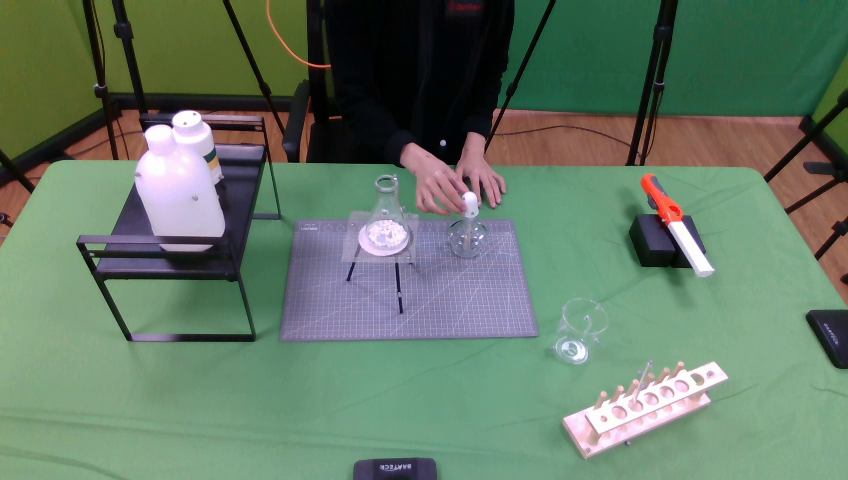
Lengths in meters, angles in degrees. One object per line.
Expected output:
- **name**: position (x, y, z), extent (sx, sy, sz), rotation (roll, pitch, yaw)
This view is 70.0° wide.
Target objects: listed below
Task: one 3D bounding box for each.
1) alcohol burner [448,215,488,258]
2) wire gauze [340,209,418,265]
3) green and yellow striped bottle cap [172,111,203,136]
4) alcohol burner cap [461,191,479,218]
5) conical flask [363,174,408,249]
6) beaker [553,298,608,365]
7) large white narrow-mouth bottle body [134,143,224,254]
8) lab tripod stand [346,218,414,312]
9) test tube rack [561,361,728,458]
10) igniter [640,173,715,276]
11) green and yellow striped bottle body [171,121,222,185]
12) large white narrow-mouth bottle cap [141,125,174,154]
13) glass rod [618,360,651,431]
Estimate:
- **alcohol burner**: position (0.085, -0.023, 1.159), extent (0.078, 0.120, 0.077), rotation (1, 47, -1)
- **wire gauze**: position (-0.074, -0.006, 1.024), extent (0.121, 0.011, 0.124), rotation (2, 48, 1)
- **green and yellow striped bottle cap**: position (-0.374, -0.185, 0.958), extent (0.045, 0.020, 0.045), rotation (4, 46, -4)
- **alcohol burner cap**: position (0.084, -0.067, 1.106), extent (0.034, 0.048, 0.033), rotation (-2, 47, 3)
- **conical flask**: position (-0.063, -0.050, 0.985), extent (0.075, 0.122, 0.075), rotation (2, 46, -1)
- **beaker**: position (0.260, 0.154, 1.015), extent (0.073, 0.101, 0.084), rotation (37, 54, 27)
- **large white narrow-mouth bottle body**: position (-0.358, -0.075, 0.875), extent (0.102, 0.195, 0.101), rotation (1, 48, -1)
- **lab tripod stand**: position (-0.070, 0.037, 1.075), extent (0.148, 0.132, 0.147), rotation (1, 48, -1)
- **test tube rack**: position (0.341, 0.248, 0.940), extent (0.243, 0.085, 0.066), rotation (-15, 49, -18)
- **igniter**: position (0.495, -0.039, 1.204), extent (0.057, 0.025, 0.274), rotation (-2, 47, -12)
- **green and yellow striped bottle body**: position (-0.375, -0.149, 0.995), extent (0.063, 0.120, 0.063), rotation (2, 46, -2)
- **large white narrow-mouth bottle cap**: position (-0.356, -0.134, 0.810), extent (0.038, 0.024, 0.037), rotation (2, 48, -1)
- **glass rod**: position (0.298, 0.227, 0.865), extent (0.008, 0.201, 0.008), rotation (-1, 47, 2)
